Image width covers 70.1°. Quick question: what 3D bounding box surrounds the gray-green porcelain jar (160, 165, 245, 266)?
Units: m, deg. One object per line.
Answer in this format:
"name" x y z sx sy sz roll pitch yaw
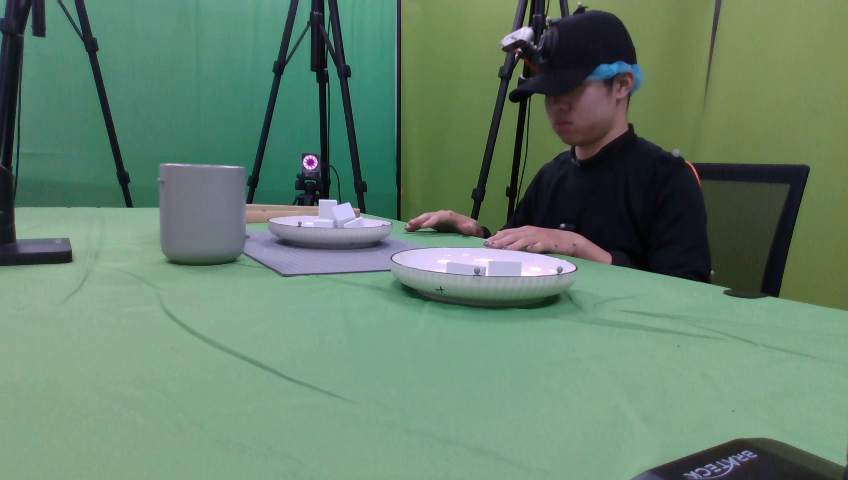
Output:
"gray-green porcelain jar" -0.291 -0.034 0.799 0.106 0.126 0.106 2 8 0

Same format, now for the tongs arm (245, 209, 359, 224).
"tongs arm" -0.300 -0.052 1.341 0.390 0.028 0.028 -3 8 -40

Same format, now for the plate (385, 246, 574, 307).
"plate" 0.060 0.041 0.678 0.208 0.039 0.207 3 7 0

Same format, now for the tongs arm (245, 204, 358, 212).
"tongs arm" -0.342 -0.068 1.409 0.387 0.026 0.050 0 9 -27

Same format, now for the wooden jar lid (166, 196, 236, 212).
"wooden jar lid" -0.369 -0.060 1.001 0.108 0.020 0.108 3 6 0

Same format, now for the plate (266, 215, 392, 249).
"plate" -0.159 -0.015 1.019 0.209 0.038 0.209 3 7 0
